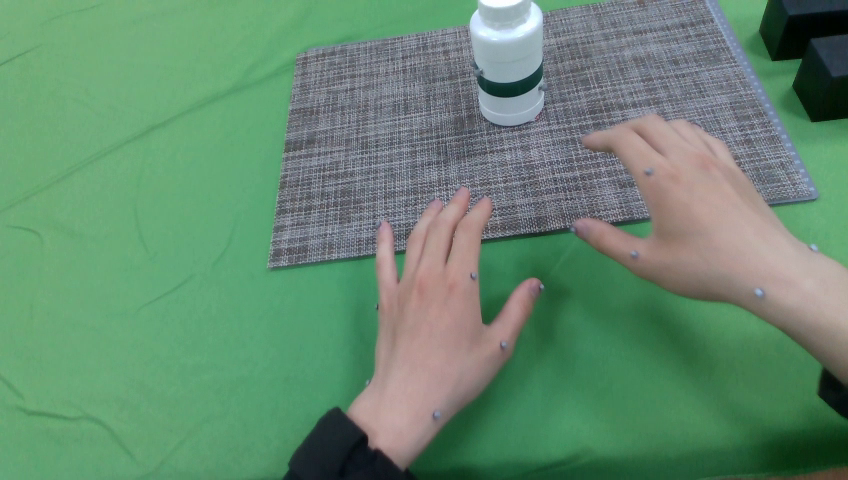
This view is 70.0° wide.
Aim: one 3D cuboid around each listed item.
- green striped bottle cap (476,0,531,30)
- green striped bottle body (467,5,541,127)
[{"bbox_3d":[0.066,-0.196,0.504,0.044,0.020,0.044,-7,56,10],"label":"green striped bottle cap"},{"bbox_3d":[0.074,-0.166,0.546,0.063,0.120,0.062,-5,53,8],"label":"green striped bottle body"}]
